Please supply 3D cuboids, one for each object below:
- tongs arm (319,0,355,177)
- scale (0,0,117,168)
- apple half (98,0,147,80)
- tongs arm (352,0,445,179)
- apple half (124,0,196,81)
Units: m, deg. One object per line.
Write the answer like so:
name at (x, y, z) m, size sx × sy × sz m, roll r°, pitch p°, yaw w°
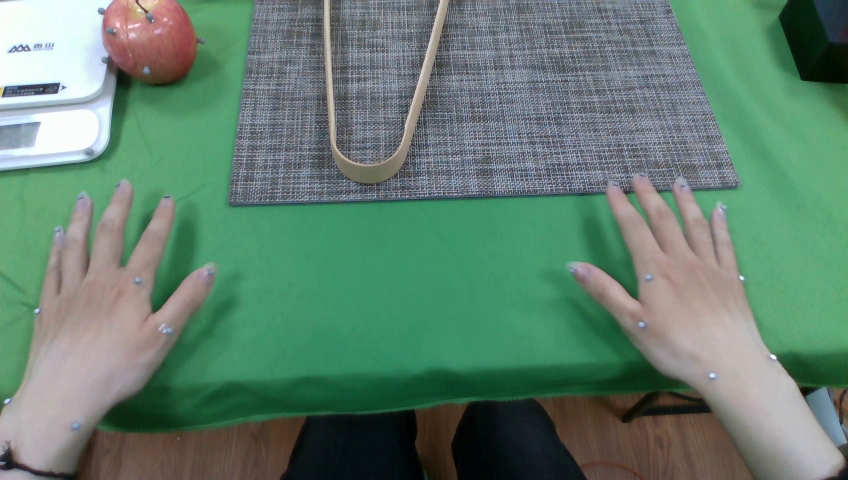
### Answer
tongs arm at (-0.093, -0.225, 0.615) m, size 0.028 × 0.028 × 0.384 m, roll -2°, pitch 60°, yaw -8°
scale at (-0.367, -0.155, 0.567) m, size 0.149 × 0.032 × 0.199 m, roll -7°, pitch 60°, yaw -5°
apple half at (-0.282, -0.185, 0.563) m, size 0.033 × 0.082 × 0.080 m, roll -10°, pitch 60°, yaw -11°
tongs arm at (-0.008, -0.221, 0.613) m, size 0.051 × 0.027 × 0.381 m, roll 9°, pitch 60°, yaw 2°
apple half at (-0.244, -0.193, 0.570) m, size 0.053 × 0.075 × 0.080 m, roll -10°, pitch 56°, yaw -10°
